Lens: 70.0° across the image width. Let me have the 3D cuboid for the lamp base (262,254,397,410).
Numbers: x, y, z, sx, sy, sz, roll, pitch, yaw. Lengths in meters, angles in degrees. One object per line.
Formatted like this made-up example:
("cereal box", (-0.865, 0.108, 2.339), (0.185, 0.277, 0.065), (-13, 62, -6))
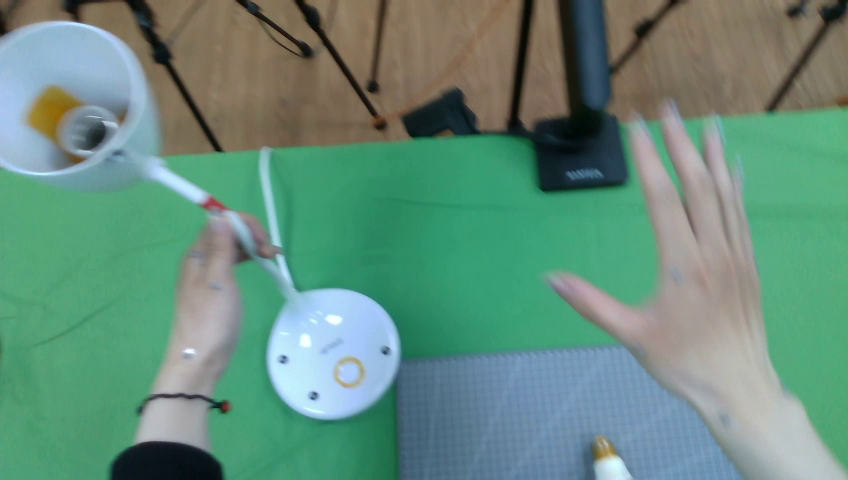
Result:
("lamp base", (-0.125, 0.091, 0.675), (0.160, 0.181, 0.178), (-43, 71, -14))

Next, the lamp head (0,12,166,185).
("lamp head", (-0.253, -0.087, 0.451), (0.112, 0.123, 0.112), (0, 76, -1))

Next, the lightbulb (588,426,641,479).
("lightbulb", (0.209, 0.259, 0.672), (0.059, 0.060, 0.106), (-10, 54, -1))
